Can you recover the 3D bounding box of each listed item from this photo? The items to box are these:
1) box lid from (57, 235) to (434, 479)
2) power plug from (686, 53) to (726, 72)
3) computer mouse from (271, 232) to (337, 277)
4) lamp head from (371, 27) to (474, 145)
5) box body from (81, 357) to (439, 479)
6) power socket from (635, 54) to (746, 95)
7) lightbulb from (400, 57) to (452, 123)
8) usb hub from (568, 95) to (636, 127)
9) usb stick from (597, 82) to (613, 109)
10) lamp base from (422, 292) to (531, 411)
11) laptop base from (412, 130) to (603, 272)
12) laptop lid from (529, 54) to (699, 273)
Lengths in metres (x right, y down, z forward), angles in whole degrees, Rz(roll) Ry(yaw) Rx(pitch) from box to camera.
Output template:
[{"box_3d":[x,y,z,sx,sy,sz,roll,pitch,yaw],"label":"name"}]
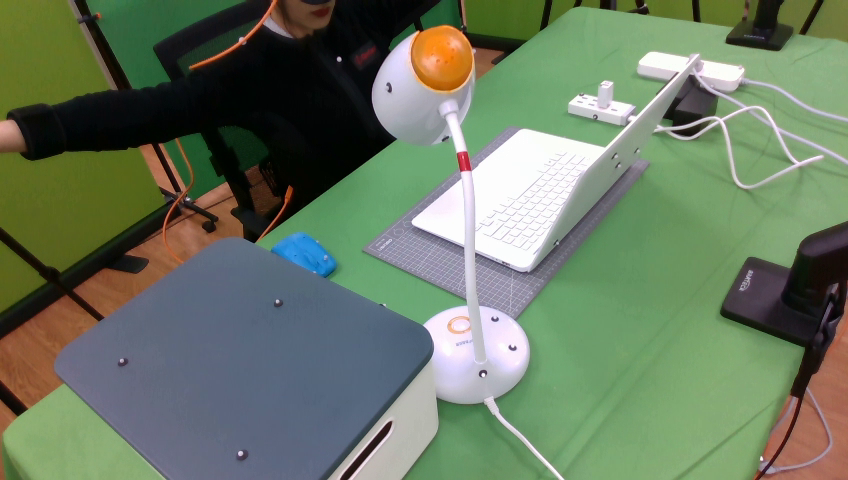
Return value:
[{"box_3d":[-0.198,0.123,0.653,0.368,0.015,0.264,22,49,32],"label":"box lid"},{"box_3d":[0.584,-0.361,1.260,0.072,0.053,0.035,14,55,16],"label":"power plug"},{"box_3d":[-0.197,0.027,0.983,0.063,0.041,0.116,-33,49,-28],"label":"computer mouse"},{"box_3d":[0.007,-0.167,0.644,0.113,0.112,0.122,-22,2,-14],"label":"lamp head"},{"box_3d":[-0.189,0.178,0.702,0.361,0.161,0.255,22,49,32],"label":"box body"},{"box_3d":[0.564,-0.357,1.293,0.225,0.033,0.072,24,51,33],"label":"power socket"},{"box_3d":[0.003,-0.169,0.668,0.059,0.108,0.059,0,79,-1],"label":"lightbulb"},{"box_3d":[0.360,-0.263,1.228,0.124,0.025,0.049,24,49,33],"label":"usb hub"},{"box_3d":[0.360,-0.281,1.204,0.021,0.059,0.027,23,49,33],"label":"usb stick"},{"box_3d":[0.054,0.095,0.740,0.161,0.181,0.177,-19,43,-11],"label":"lamp base"},{"box_3d":[0.176,-0.084,1.055,0.233,0.023,0.355,21,48,36],"label":"laptop base"},{"box_3d":[0.283,-0.114,0.897,0.013,0.242,0.358,38,55,17],"label":"laptop lid"}]
